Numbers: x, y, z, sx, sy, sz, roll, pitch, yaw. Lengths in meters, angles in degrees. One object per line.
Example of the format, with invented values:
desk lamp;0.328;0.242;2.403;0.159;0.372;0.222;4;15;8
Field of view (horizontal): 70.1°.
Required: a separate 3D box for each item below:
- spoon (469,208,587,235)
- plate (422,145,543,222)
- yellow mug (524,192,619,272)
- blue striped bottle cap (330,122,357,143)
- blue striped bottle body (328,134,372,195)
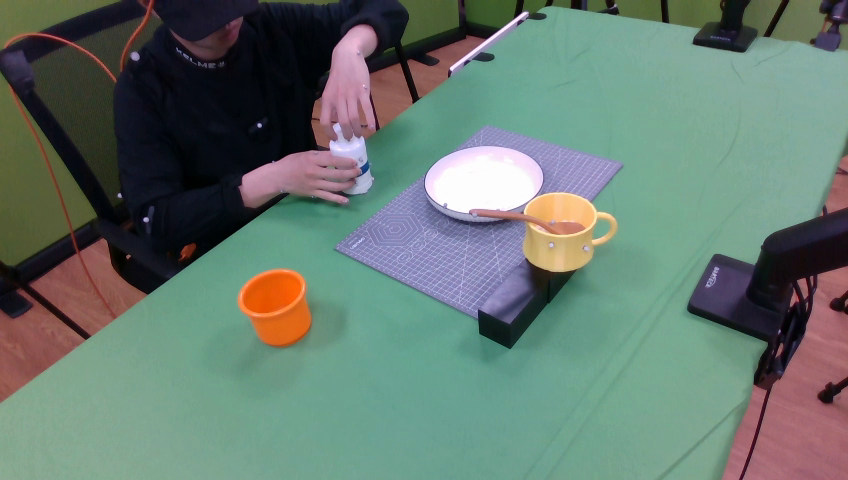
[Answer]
spoon;0.143;-0.026;0.817;0.195;0.021;0.041;12;35;-29
plate;0.101;-0.094;1.048;0.207;0.039;0.206;-4;41;4
yellow mug;0.206;-0.014;0.845;0.131;0.064;0.099;-4;41;2
blue striped bottle cap;-0.139;-0.186;1.046;0.044;0.021;0.044;-4;37;4
blue striped bottle body;-0.134;-0.145;1.082;0.063;0.121;0.063;-4;42;4
